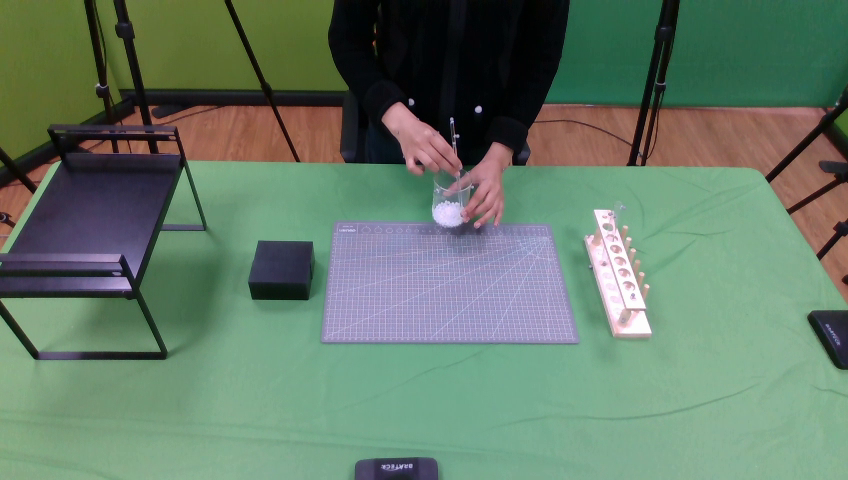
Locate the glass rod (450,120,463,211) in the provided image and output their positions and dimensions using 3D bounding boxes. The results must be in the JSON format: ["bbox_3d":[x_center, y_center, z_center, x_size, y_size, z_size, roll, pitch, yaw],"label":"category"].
[{"bbox_3d":[0.062,-0.134,1.131,0.008,0.201,0.008,-6,39,5],"label":"glass rod"}]

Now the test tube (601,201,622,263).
[{"bbox_3d":[0.346,-0.012,1.123,0.017,0.151,0.017,-2,44,2],"label":"test tube"}]

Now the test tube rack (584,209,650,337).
[{"bbox_3d":[0.365,0.056,1.129,0.067,0.085,0.240,1,46,-4],"label":"test tube rack"}]

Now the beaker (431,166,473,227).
[{"bbox_3d":[0.049,-0.082,1.169,0.074,0.101,0.083,-17,48,-21],"label":"beaker"}]
